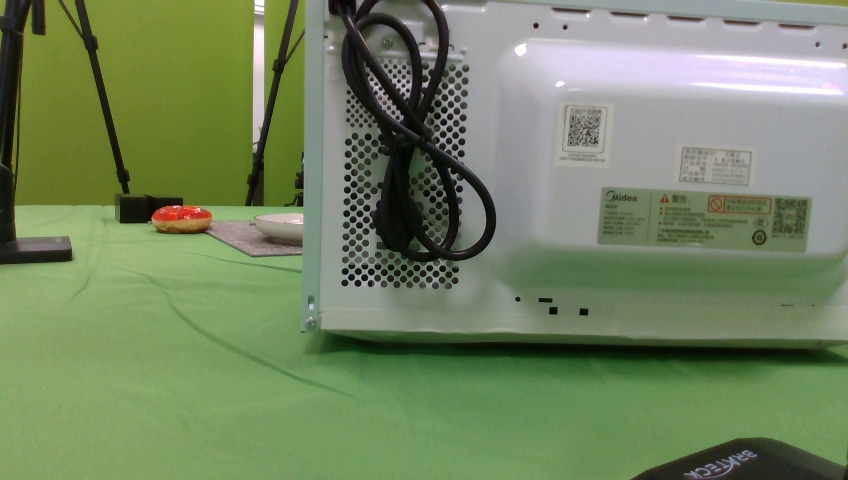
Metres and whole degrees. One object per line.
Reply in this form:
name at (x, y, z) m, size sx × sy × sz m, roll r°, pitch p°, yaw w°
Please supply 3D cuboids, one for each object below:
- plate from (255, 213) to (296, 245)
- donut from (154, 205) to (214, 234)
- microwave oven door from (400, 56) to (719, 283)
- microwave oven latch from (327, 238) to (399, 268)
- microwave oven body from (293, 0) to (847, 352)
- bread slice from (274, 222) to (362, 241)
plate at (-0.177, -0.018, 1.017) m, size 0.208 × 0.039 × 0.207 m, roll 2°, pitch 7°, yaw 0°
donut at (-0.426, -0.037, 1.075) m, size 0.099 × 0.048 × 0.099 m, roll 2°, pitch 12°, yaw 0°
microwave oven door at (0.155, -0.078, 0.697) m, size 0.356 × 0.243 × 0.039 m, roll 2°, pitch 8°, yaw -5°
microwave oven latch at (-0.069, 0.015, 0.694) m, size 0.079 × 0.029 × 0.030 m, roll 3°, pitch 7°, yaw -3°
microwave oven body at (0.122, -0.055, 0.550) m, size 0.442 × 0.260 × 0.325 m, roll 3°, pitch 7°, yaw -5°
bread slice at (-0.181, -0.016, 1.011) m, size 0.104 × 0.019 × 0.132 m, roll 5°, pitch 8°, yaw 27°
